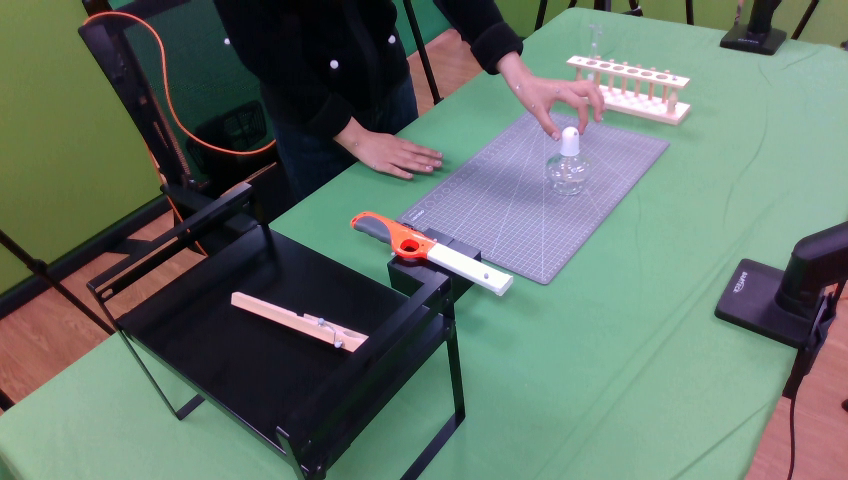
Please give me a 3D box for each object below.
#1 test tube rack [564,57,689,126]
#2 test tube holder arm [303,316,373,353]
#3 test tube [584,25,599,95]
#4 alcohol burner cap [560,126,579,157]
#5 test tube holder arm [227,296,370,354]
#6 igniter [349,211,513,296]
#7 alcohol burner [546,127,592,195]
[{"bbox_3d":[0.411,-0.312,1.230,0.240,0.085,0.067,24,50,31],"label":"test tube rack"},{"bbox_3d":[-0.090,0.094,0.604,0.087,0.015,0.010,13,5,25],"label":"test tube holder arm"},{"bbox_3d":[0.339,-0.361,1.224,0.017,0.151,0.017,-4,46,4],"label":"test tube"},{"bbox_3d":[0.243,-0.165,1.002,0.034,0.048,0.033,-2,39,2],"label":"alcohol burner cap"},{"bbox_3d":[-0.132,0.084,0.617,0.177,0.015,0.013,13,5,23],"label":"test tube holder arm"},{"bbox_3d":[0.003,0.013,0.881,0.274,0.025,0.057,24,52,28],"label":"igniter"},{"bbox_3d":[0.246,-0.137,1.024,0.078,0.119,0.077,-4,38,4],"label":"alcohol burner"}]
